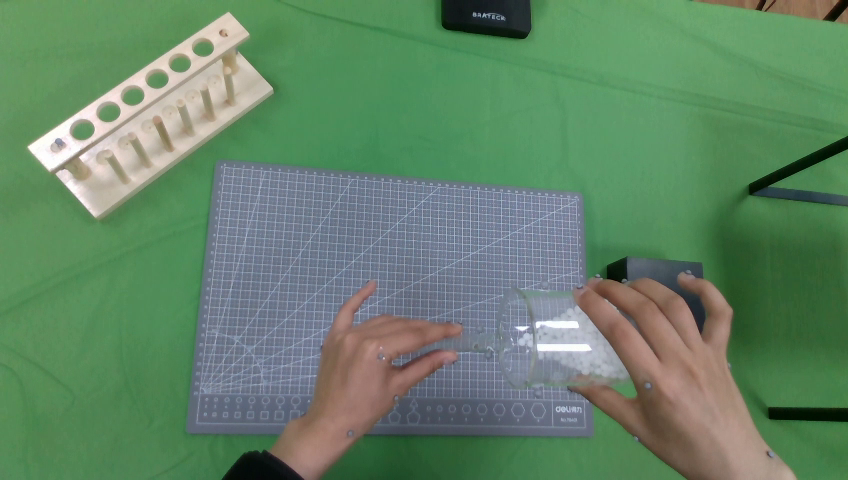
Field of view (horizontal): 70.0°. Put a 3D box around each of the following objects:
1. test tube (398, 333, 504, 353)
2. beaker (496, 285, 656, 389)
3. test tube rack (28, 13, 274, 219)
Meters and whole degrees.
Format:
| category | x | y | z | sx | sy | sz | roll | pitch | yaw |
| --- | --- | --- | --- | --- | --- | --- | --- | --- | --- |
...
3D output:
| category | x | y | z | sx | sy | sz | roll | pitch | yaw |
| --- | --- | --- | --- | --- | --- | --- | --- | --- | --- |
| test tube | 0.019 | 0.092 | 0.541 | 0.017 | 0.149 | 0.017 | 6 | 78 | -32 |
| beaker | 0.111 | 0.074 | 0.455 | 0.100 | 0.084 | 0.073 | 3 | 74 | -14 |
| test tube rack | -0.279 | -0.133 | 0.652 | 0.242 | 0.085 | 0.066 | -42 | 87 | -18 |
